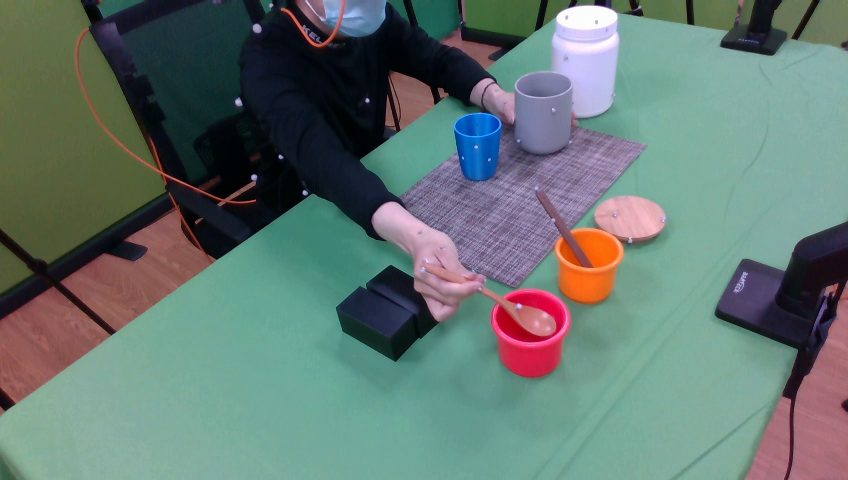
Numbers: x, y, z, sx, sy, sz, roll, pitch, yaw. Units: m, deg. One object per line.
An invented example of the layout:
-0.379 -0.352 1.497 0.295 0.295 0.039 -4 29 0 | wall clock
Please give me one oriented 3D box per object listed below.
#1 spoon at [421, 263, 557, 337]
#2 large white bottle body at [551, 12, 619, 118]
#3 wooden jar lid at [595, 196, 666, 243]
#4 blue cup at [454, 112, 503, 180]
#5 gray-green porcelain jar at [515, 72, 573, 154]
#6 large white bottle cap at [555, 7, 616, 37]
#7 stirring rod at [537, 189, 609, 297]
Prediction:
0.082 0.070 0.742 0.195 0.021 0.041 30 47 -17 | spoon
0.321 -0.356 1.218 0.130 0.185 0.130 -4 41 4 | large white bottle body
0.329 -0.031 0.967 0.108 0.021 0.108 -4 41 4 | wooden jar lid
0.098 -0.165 1.088 0.092 0.100 0.092 -3 40 3 | blue cup
0.223 -0.234 1.130 0.106 0.127 0.105 -4 40 4 | gray-green porcelain jar
0.311 -0.420 1.163 0.115 0.018 0.114 -4 40 4 | large white bottle cap
0.210 0.004 0.855 0.014 0.006 0.176 -31 88 -31 | stirring rod
